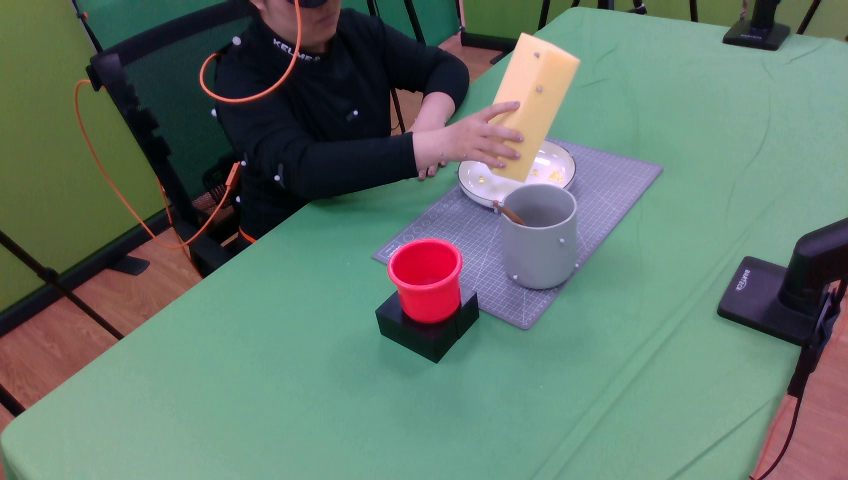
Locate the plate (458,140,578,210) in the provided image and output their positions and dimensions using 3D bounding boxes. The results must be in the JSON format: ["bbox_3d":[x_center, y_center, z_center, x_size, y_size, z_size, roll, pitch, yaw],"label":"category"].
[{"bbox_3d":[0.166,-0.113,1.068,0.207,0.039,0.206,-5,40,5],"label":"plate"}]

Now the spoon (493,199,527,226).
[{"bbox_3d":[0.135,-0.016,0.831,0.021,0.195,0.041,-49,53,-1],"label":"spoon"}]

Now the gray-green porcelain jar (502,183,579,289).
[{"bbox_3d":[0.167,-0.001,0.866,0.106,0.127,0.105,-5,40,5],"label":"gray-green porcelain jar"}]

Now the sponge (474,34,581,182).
[{"bbox_3d":[0.161,-0.214,0.979,0.061,0.207,0.117,13,24,-20],"label":"sponge"}]
